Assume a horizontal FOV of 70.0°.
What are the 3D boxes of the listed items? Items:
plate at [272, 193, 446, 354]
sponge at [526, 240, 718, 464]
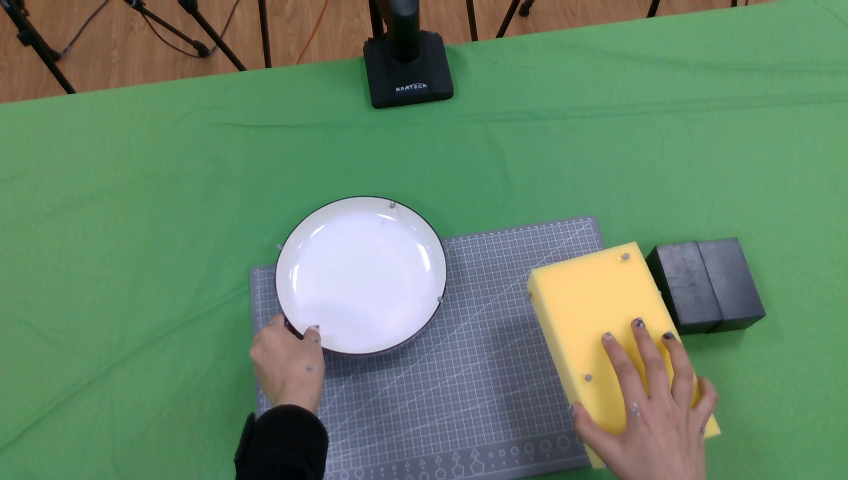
[{"bbox_3d":[-0.077,0.041,0.740,0.209,0.038,0.207,0,65,0],"label":"plate"},{"bbox_3d":[0.198,0.115,0.635,0.118,0.061,0.205,-17,68,-3],"label":"sponge"}]
